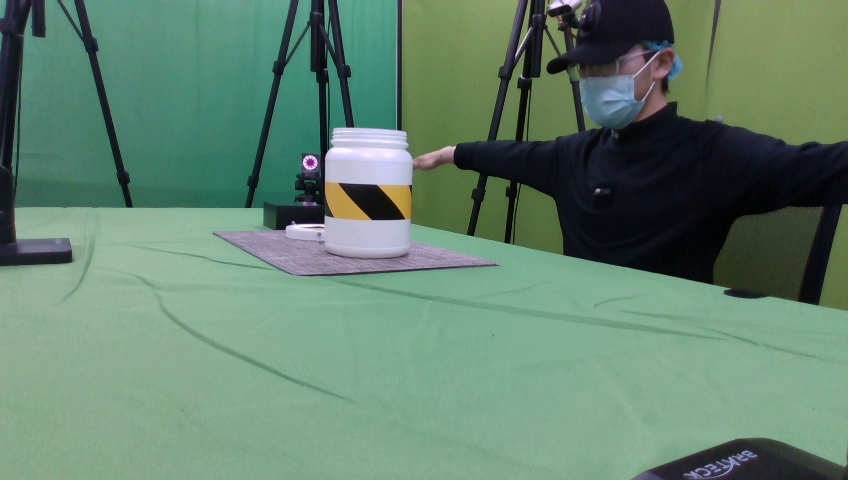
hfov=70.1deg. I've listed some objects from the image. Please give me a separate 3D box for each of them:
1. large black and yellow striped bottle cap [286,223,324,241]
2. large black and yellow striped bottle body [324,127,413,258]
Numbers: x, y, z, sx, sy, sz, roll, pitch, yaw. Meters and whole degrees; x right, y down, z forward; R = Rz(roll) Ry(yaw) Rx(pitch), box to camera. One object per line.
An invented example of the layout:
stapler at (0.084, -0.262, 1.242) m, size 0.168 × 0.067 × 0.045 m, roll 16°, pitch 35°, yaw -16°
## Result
large black and yellow striped bottle cap at (-0.187, -0.015, 1.077) m, size 0.115 × 0.019 × 0.115 m, roll 2°, pitch 9°, yaw 0°
large black and yellow striped bottle body at (-0.083, -0.073, 0.899) m, size 0.131 × 0.184 × 0.130 m, roll 2°, pitch 8°, yaw 0°
